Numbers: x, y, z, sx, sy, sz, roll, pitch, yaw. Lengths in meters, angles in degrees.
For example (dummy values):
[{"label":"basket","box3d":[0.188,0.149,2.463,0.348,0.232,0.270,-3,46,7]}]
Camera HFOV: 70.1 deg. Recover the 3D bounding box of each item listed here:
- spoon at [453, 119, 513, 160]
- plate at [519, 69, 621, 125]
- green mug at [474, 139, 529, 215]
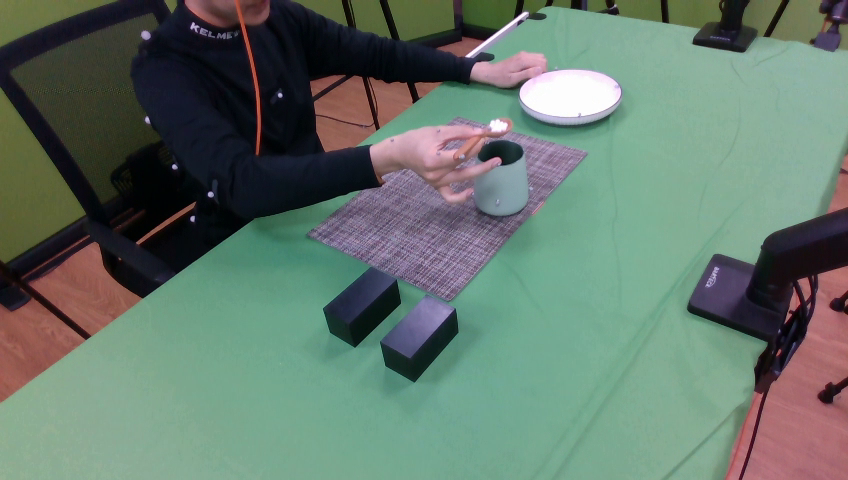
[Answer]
[{"label":"spoon","box3d":[0.083,-0.148,0.874,0.041,0.022,0.194,9,24,26]},{"label":"plate","box3d":[0.300,-0.293,1.253,0.209,0.038,0.208,-4,41,4]},{"label":"green mug","box3d":[0.126,-0.113,1.013,0.092,0.105,0.124,-8,41,0]}]
